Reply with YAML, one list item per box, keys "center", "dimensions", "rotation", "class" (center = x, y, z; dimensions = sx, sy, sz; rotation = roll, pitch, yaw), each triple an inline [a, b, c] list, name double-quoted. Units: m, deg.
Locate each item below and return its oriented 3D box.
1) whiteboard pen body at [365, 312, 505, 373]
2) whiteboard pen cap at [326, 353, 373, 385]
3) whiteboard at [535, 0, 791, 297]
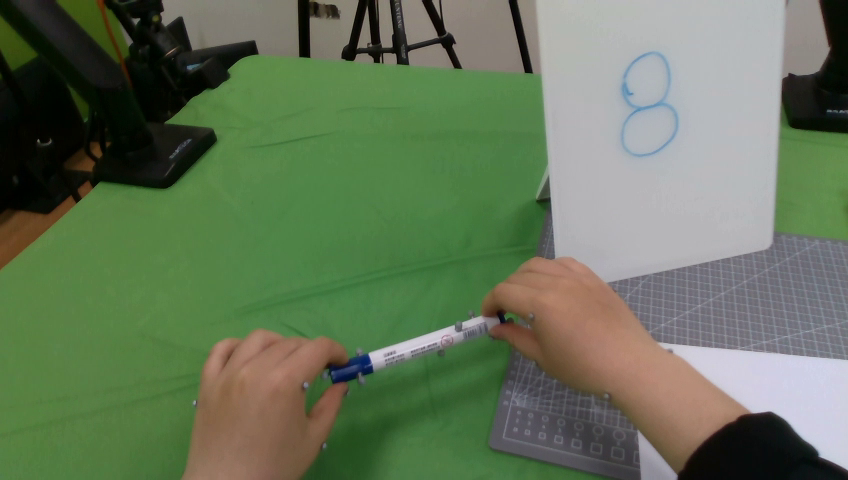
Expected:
- center: [-0.003, 0.083, 0.474]
  dimensions: [0.141, 0.017, 0.017]
  rotation: [-16, 42, -13]
  class: "whiteboard pen body"
- center: [-0.056, 0.096, 0.457]
  dimensions: [0.033, 0.018, 0.018]
  rotation: [-17, 43, -15]
  class: "whiteboard pen cap"
- center: [0.197, -0.131, 0.576]
  dimensions: [0.217, 0.307, 0.142]
  rotation: [-11, 21, -6]
  class: "whiteboard"
